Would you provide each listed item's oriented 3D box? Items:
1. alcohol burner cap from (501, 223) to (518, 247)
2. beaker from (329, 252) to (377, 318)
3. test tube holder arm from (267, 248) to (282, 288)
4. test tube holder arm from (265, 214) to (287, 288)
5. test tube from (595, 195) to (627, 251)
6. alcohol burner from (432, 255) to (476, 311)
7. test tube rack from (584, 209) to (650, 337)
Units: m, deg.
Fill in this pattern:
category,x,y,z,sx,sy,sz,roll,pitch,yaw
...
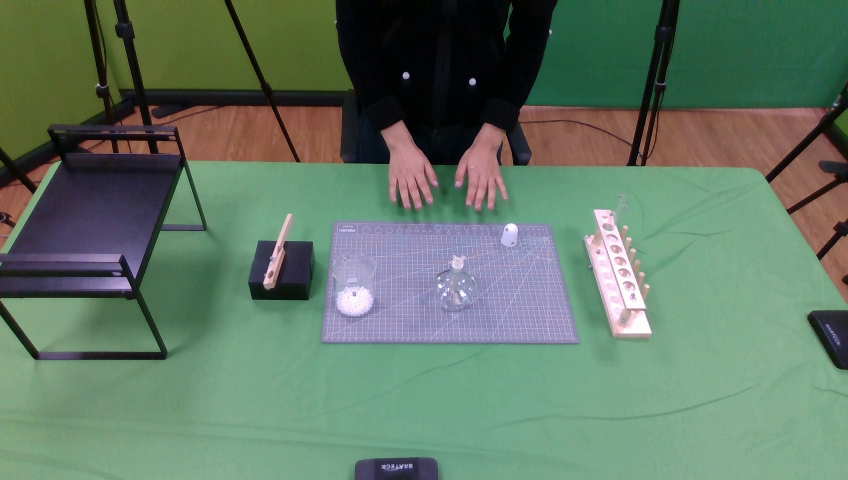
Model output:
category,x,y,z,sx,sy,sz,roll,pitch,yaw
alcohol burner cap,0.172,-0.013,1.206,0.034,0.048,0.033,1,46,-1
beaker,-0.121,0.080,1.055,0.084,0.101,0.073,-16,50,-19
test tube holder arm,-0.262,0.048,1.068,0.010,0.015,0.087,4,45,-3
test tube holder arm,-0.268,0.016,1.099,0.013,0.015,0.177,2,45,-4
test tube,0.350,-0.029,1.140,0.017,0.151,0.017,3,50,-3
alcohol burner,0.055,0.070,1.068,0.078,0.119,0.077,3,45,-3
test tube rack,0.365,0.056,1.129,0.067,0.085,0.240,1,46,-4
